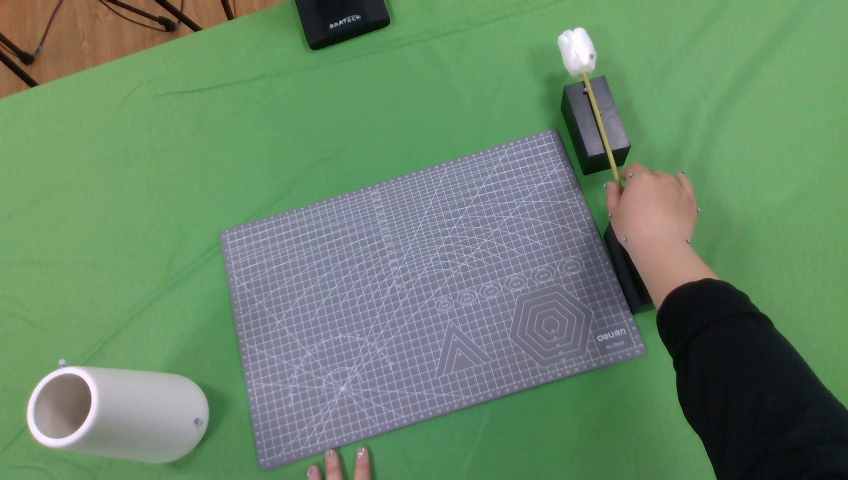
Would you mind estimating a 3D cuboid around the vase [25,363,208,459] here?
[{"bbox_3d":[-0.302,0.173,0.618,0.098,0.201,0.097,-2,70,5],"label":"vase"}]

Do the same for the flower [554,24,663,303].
[{"bbox_3d":[0.211,-0.098,0.689,0.044,0.038,0.358,0,66,-25],"label":"flower"}]
